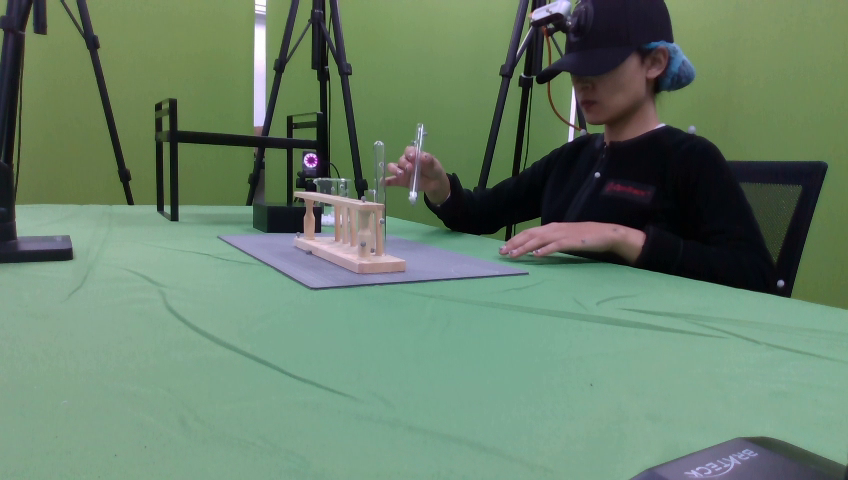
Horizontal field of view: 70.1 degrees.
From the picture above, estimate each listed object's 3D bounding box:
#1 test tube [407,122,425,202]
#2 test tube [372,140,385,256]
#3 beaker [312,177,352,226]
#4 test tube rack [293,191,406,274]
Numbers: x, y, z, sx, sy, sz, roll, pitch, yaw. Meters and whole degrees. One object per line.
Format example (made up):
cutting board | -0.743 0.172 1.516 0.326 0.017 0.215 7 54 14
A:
test tube | -0.013 -0.135 1.035 0.017 0.150 0.017 5 -21 2
test tube | -0.058 -0.053 0.781 0.017 0.150 0.017 0 5 0
beaker | -0.194 -0.081 1.266 0.084 0.100 0.073 -3 9 -29
test tube rack | -0.110 -0.017 0.835 0.067 0.085 0.241 -2 9 -30
